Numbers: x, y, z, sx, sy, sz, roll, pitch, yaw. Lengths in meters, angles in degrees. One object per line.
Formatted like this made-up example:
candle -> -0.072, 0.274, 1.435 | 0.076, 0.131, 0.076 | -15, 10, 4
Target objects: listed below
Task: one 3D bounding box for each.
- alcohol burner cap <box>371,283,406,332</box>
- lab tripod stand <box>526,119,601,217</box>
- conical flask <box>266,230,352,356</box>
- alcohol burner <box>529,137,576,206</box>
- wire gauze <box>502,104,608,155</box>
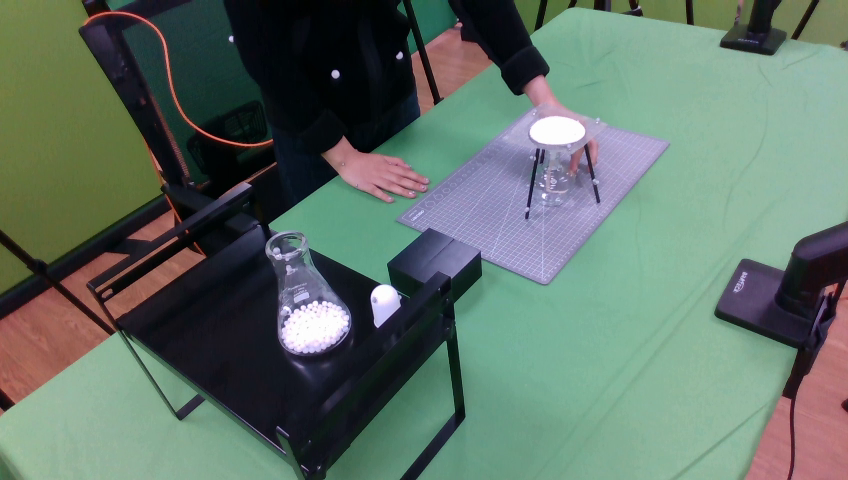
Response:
alcohol burner cap -> -0.037, 0.065, 0.608 | 0.034, 0.048, 0.033 | -5, 39, 4
lab tripod stand -> 0.221, -0.121, 0.995 | 0.148, 0.132, 0.147 | -3, 38, 3
conical flask -> -0.117, 0.047, 0.580 | 0.075, 0.122, 0.075 | -5, 40, 4
alcohol burner -> 0.214, -0.117, 1.005 | 0.078, 0.119, 0.077 | -4, 38, 4
wire gauze -> 0.207, -0.173, 0.953 | 0.120, 0.011, 0.125 | 24, 48, 31
